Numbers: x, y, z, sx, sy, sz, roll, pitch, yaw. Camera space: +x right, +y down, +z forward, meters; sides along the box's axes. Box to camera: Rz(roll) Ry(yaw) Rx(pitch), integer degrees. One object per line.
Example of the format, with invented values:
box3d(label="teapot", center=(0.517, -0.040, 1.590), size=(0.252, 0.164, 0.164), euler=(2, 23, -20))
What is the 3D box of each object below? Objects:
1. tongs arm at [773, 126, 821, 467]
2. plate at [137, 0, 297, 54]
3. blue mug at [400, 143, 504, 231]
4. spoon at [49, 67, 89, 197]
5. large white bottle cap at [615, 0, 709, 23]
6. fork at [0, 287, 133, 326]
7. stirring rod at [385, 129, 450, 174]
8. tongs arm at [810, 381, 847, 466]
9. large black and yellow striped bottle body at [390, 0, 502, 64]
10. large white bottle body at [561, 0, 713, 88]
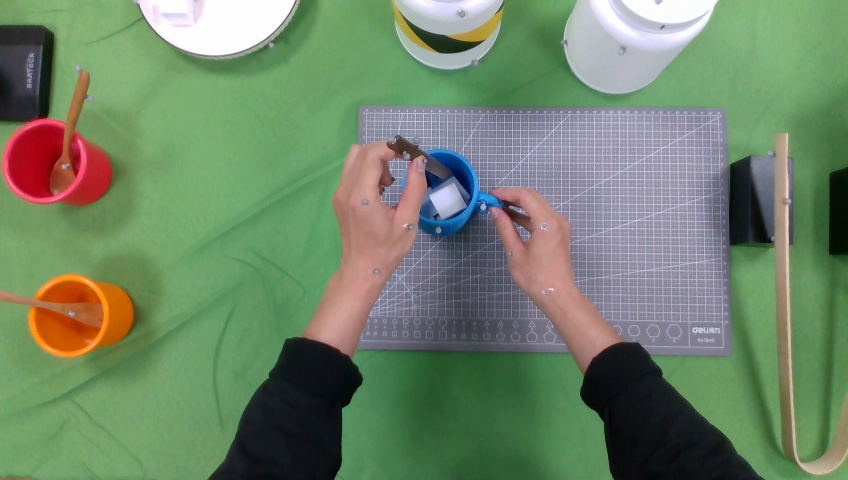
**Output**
box3d(label="tongs arm", center=(0.416, 0.067, 0.673), size=(0.051, 0.026, 0.385), euler=(-4, 98, -1))
box3d(label="plate", center=(-0.250, -0.327, 0.747), size=(0.208, 0.039, 0.207), euler=(0, 86, 1))
box3d(label="blue mug", center=(0.033, -0.053, 0.687), size=(0.116, 0.106, 0.082), euler=(12, 86, 2))
box3d(label="spoon", center=(-0.399, -0.117, 0.683), size=(0.041, 0.021, 0.194), euler=(47, 132, 7))
box3d(label="large white bottle cap", center=(0.228, -0.264, 0.575), size=(0.115, 0.018, 0.114), euler=(0, 86, 0))
box3d(label="fork", center=(-0.431, 0.065, 0.669), size=(0.209, 0.018, 0.028), euler=(22, 85, -41))
box3d(label="stirring rod", center=(-0.002, -0.079, 0.561), size=(0.014, 0.177, 0.006), euler=(-37, 78, 12))
box3d(label="tongs arm", center=(0.498, 0.069, 0.673), size=(0.028, 0.027, 0.388), euler=(9, 98, -6))
box3d(label="large black and yellow striped bottle body", center=(0.024, -0.287, 0.666), size=(0.131, 0.184, 0.130), euler=(0, 85, 1))
box3d(label="large white bottle body", center=(0.230, -0.256, 0.659), size=(0.130, 0.185, 0.130), euler=(0, 86, 1))
